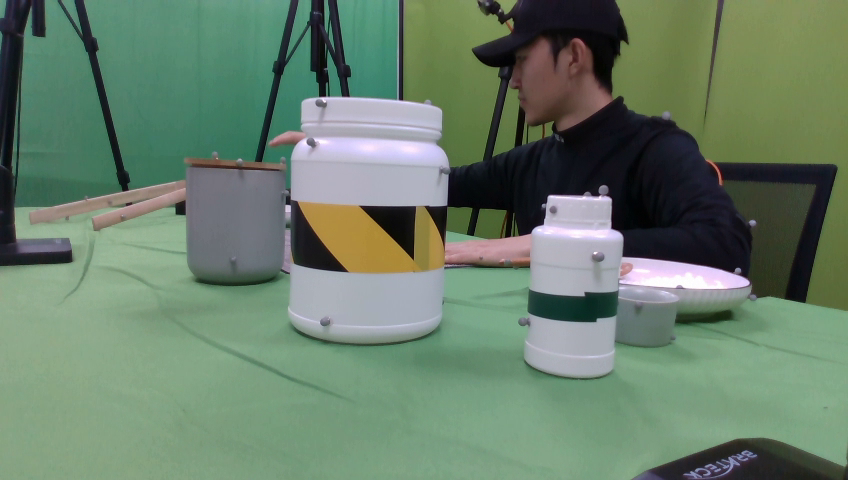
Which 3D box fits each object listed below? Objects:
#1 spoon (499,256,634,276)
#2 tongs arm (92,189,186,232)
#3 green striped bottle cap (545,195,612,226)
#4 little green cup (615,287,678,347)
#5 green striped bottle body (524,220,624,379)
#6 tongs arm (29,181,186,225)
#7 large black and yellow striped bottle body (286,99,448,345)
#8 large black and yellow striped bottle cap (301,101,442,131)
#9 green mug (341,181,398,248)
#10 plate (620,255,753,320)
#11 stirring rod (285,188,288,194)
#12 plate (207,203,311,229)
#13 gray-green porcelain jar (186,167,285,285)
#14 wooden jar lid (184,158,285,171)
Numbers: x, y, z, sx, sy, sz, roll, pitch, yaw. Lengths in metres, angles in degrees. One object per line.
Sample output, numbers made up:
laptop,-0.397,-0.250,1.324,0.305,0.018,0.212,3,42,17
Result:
spoon,0.162,0.027,0.679,0.195,0.021,0.041,8,2,-30
tongs arm,-0.534,-0.076,1.221,0.028,0.028,0.388,-2,15,12
green striped bottle cap,0.106,-0.020,0.414,0.044,0.020,0.044,2,4,0
little green cup,0.180,0.064,0.506,0.061,0.038,0.061,1,8,0
green striped bottle body,0.104,0.031,0.422,0.063,0.119,0.063,2,8,0
tongs arm,-0.609,-0.083,1.245,0.050,0.026,0.386,5,16,23
large black and yellow striped bottle body,-0.047,-0.018,0.501,0.131,0.184,0.130,2,7,0
large black and yellow striped bottle cap,-0.042,-0.100,0.491,0.115,0.019,0.115,1,8,0
green mug,-0.089,-0.044,0.997,0.093,0.105,0.125,1,7,-8
plate,0.234,0.049,0.651,0.209,0.038,0.209,2,7,0
stirring rod,-0.353,-0.122,1.519,0.006,0.014,0.176,2,6,1
plate,-0.342,-0.050,1.259,0.208,0.039,0.207,2,7,0
gray-green porcelain jar,-0.212,-0.017,0.682,0.106,0.126,0.106,2,7,0
wooden jar lid,-0.210,-0.078,0.674,0.108,0.020,0.108,5,5,0
